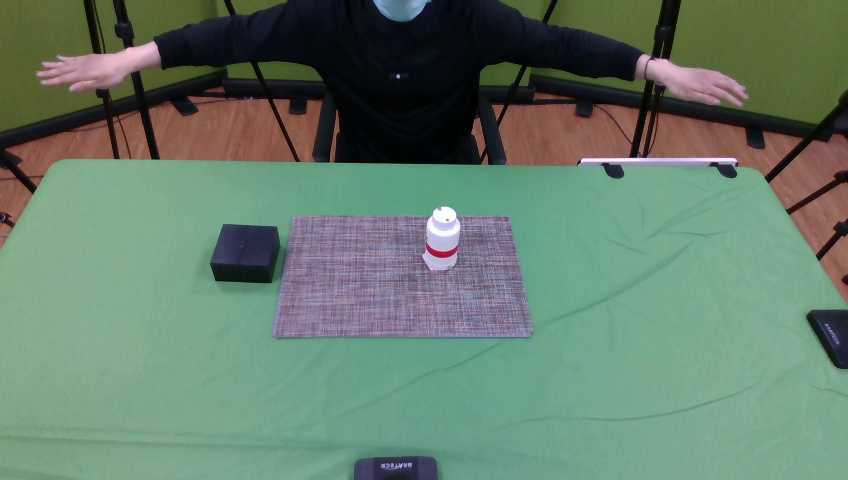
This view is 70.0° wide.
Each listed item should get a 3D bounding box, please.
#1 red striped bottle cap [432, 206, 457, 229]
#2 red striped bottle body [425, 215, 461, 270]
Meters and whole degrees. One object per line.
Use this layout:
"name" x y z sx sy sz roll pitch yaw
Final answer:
"red striped bottle cap" 0.037 -0.041 1.090 0.044 0.018 0.044 0 47 1
"red striped bottle body" 0.035 -0.004 1.128 0.063 0.120 0.062 1 46 -1
